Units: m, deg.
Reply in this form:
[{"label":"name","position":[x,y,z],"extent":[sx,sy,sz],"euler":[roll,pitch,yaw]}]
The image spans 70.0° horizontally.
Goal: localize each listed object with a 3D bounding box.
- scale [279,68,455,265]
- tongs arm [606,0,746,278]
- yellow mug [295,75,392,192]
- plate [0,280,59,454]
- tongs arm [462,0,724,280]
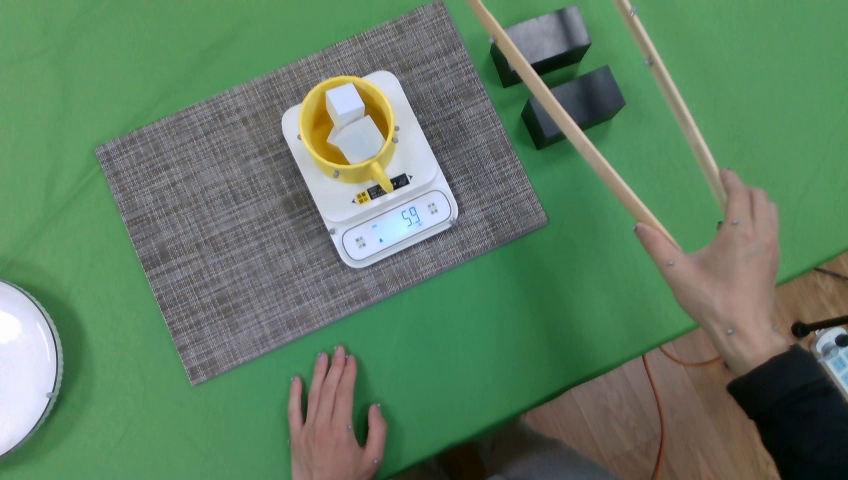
[{"label":"scale","position":[-0.066,-0.086,0.701],"extent":[0.149,0.031,0.200],"euler":[-25,85,-4]},{"label":"tongs arm","position":[0.213,-0.147,0.590],"extent":[0.051,0.026,0.382],"euler":[-22,75,-5]},{"label":"yellow mug","position":[-0.076,-0.107,0.656],"extent":[0.100,0.064,0.130],"euler":[-35,87,-6]},{"label":"plate","position":[-0.502,0.141,0.663],"extent":[0.208,0.039,0.207],"euler":[0,83,-2]},{"label":"tongs arm","position":[0.145,-0.114,0.585],"extent":[0.028,0.028,0.385],"euler":[-32,75,-11]}]
